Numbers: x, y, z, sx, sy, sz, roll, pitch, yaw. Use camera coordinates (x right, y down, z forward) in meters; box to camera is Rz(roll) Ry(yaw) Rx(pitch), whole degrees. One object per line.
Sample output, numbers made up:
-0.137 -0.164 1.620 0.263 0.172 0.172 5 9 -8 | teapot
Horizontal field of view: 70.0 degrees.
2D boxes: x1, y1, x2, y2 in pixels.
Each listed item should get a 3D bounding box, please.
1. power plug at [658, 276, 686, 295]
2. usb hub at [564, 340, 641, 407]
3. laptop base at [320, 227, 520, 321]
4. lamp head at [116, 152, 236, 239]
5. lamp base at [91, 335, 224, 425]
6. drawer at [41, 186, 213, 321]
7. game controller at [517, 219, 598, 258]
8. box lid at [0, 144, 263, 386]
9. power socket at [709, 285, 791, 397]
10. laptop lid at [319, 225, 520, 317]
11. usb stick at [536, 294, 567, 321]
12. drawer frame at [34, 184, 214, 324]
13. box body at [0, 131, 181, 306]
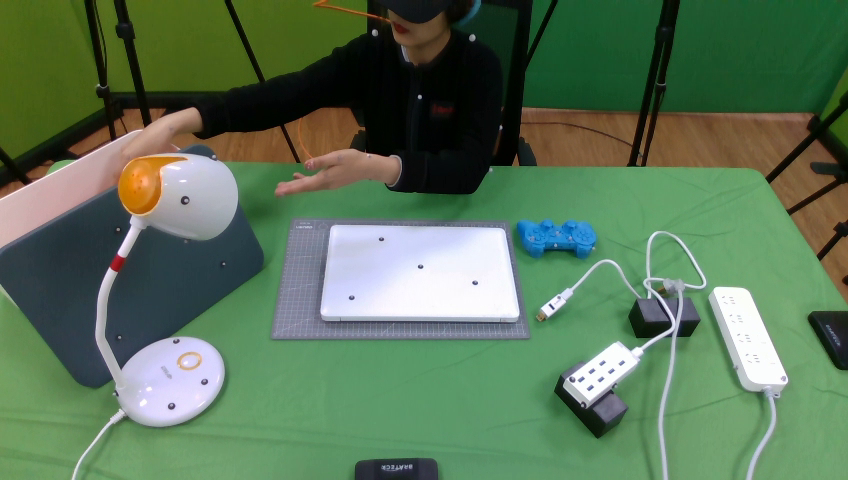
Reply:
0.450 0.087 1.113 0.073 0.052 0.035 -13 72 -55 | power plug
0.278 0.205 0.944 0.125 0.025 0.049 -27 52 -28 | usb hub
-0.008 0.061 1.138 0.354 0.023 0.234 1 42 -3 | laptop base
-0.315 -0.057 0.747 0.112 0.112 0.123 26 10 20 | lamp head
-0.401 0.171 0.892 0.160 0.181 0.179 30 53 23 | lamp base
-0.531 0.019 1.097 0.194 0.073 0.211 30 52 20 | drawer
0.269 -0.012 1.210 0.155 0.052 0.096 1 50 -2 | game controller
-0.444 0.032 0.979 0.015 0.264 0.371 13 42 41 | box lid
0.567 0.167 1.064 0.072 0.033 0.225 2 46 0 | power socket
-0.008 0.052 1.131 0.357 0.013 0.240 2 43 -2 | laptop lid
0.226 0.123 1.083 0.059 0.027 0.021 -38 76 -8 | usb stick
-0.532 0.018 1.091 0.201 0.083 0.213 29 51 21 | drawer frame
-0.550 -0.007 1.067 0.253 0.161 0.363 30 51 23 | box body
